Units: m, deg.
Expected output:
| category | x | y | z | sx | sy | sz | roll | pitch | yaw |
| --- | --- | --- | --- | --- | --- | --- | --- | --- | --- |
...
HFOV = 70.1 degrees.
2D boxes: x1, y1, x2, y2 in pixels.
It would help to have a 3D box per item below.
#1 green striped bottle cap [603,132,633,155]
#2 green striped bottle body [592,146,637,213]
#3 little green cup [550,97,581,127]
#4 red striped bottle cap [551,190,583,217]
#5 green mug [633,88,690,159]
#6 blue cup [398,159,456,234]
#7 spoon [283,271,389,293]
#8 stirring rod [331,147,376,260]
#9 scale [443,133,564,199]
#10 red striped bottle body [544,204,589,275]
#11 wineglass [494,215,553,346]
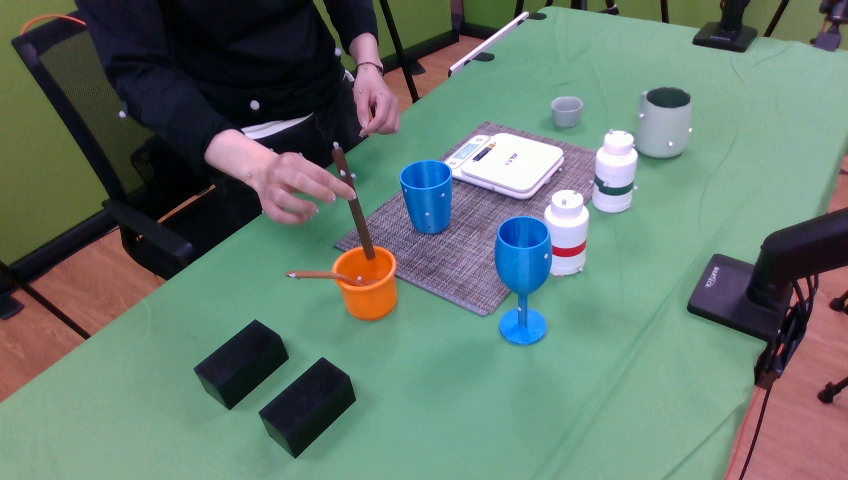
| category | x | y | z | sx | sy | sz | roll | pitch | yaw |
| --- | --- | --- | --- | --- | --- | --- | --- | --- | --- |
| green striped bottle cap | 0.302 | -0.149 | 0.939 | 0.044 | 0.020 | 0.044 | -3 | 40 | 3 |
| green striped bottle body | 0.307 | -0.108 | 0.976 | 0.063 | 0.120 | 0.063 | -4 | 41 | 4 |
| little green cup | 0.284 | -0.255 | 1.213 | 0.061 | 0.039 | 0.061 | -5 | 41 | 5 |
| red striped bottle cap | 0.200 | -0.052 | 0.843 | 0.044 | 0.018 | 0.044 | -2 | 42 | 2 |
| green mug | 0.423 | -0.217 | 1.099 | 0.093 | 0.105 | 0.124 | -16 | 41 | -9 |
| blue cup | 0.006 | -0.065 | 0.976 | 0.092 | 0.100 | 0.092 | -3 | 39 | 3 |
| spoon | -0.116 | 0.054 | 0.824 | 0.041 | 0.195 | 0.021 | 23 | 93 | 37 |
| stirring rod | -0.089 | -0.043 | 0.779 | 0.014 | 0.177 | 0.005 | -25 | 39 | -14 |
| scale | 0.137 | -0.142 | 1.101 | 0.199 | 0.032 | 0.149 | 22 | 48 | 30 |
| red striped bottle body | 0.206 | -0.011 | 0.877 | 0.063 | 0.120 | 0.062 | -5 | 41 | 4 |
| wineglass | 0.127 | 0.055 | 0.770 | 0.074 | 0.173 | 0.073 | -4 | 40 | 4 |
